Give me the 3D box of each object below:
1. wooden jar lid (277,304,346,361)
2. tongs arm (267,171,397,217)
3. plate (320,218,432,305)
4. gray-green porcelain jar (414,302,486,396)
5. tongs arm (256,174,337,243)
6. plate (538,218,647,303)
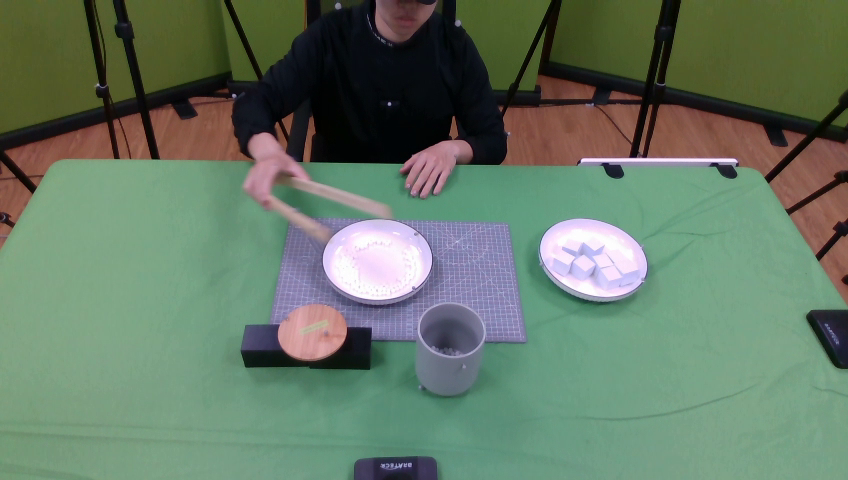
[{"bbox_3d":[-0.179,0.150,0.972,0.108,0.021,0.107,2,45,-2],"label":"wooden jar lid"},{"bbox_3d":[-0.173,-0.086,1.076,0.028,0.028,0.385,-34,33,-31],"label":"tongs arm"},{"bbox_3d":[-0.089,0.044,1.134,0.209,0.038,0.208,3,46,-2],"label":"plate"},{"bbox_3d":[0.038,0.177,0.958,0.106,0.127,0.105,2,46,-2],"label":"gray-green porcelain jar"},{"bbox_3d":[-0.221,-0.063,1.047,0.051,0.026,0.382,-27,29,-27],"label":"tongs arm"},{"bbox_3d":[0.322,0.042,1.171,0.208,0.039,0.206,2,46,-2],"label":"plate"}]
